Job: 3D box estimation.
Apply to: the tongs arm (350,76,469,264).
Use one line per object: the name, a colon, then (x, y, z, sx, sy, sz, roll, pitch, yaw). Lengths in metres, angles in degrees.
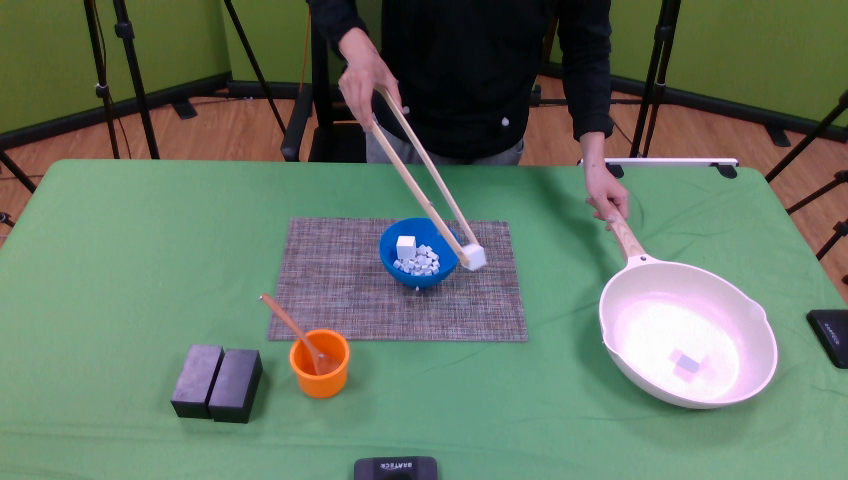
tongs arm: (-0.025, -0.125, 1.037, 0.051, 0.026, 0.383, -31, 76, -23)

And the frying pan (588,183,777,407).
frying pan: (0.412, 0.079, 1.096, 0.307, 0.103, 0.484, -9, 56, -14)

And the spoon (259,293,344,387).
spoon: (-0.191, 0.155, 0.947, 0.021, 0.194, 0.041, -13, 27, 50)

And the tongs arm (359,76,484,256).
tongs arm: (-0.005, -0.134, 1.046, 0.028, 0.028, 0.386, -27, 75, -18)

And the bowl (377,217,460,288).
bowl: (-0.012, 0.036, 1.118, 0.151, 0.077, 0.150, 2, 46, -2)
